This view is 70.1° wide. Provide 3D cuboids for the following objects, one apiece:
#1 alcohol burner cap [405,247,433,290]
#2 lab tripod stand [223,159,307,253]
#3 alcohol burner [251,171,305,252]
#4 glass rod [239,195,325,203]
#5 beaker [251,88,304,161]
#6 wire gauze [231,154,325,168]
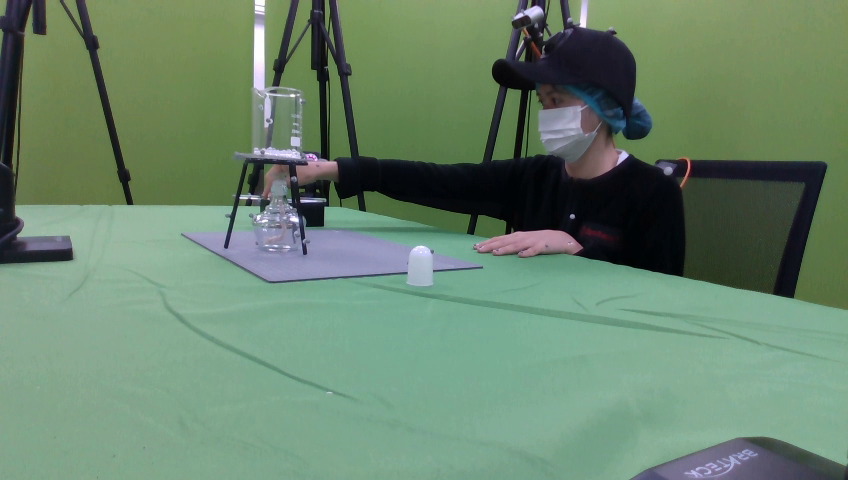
[{"bbox_3d":[-0.005,0.031,0.698,0.034,0.048,0.034,2,8,0],"label":"alcohol burner cap"},{"bbox_3d":[-0.220,-0.053,0.896,0.148,0.131,0.148,1,6,0],"label":"lab tripod stand"},{"bbox_3d":[-0.214,-0.042,0.888,0.078,0.119,0.078,2,9,0],"label":"alcohol burner"},{"bbox_3d":[-0.288,-0.083,1.228,0.201,0.008,0.008,0,7,-42],"label":"glass rod"},{"bbox_3d":[-0.214,-0.165,0.874,0.074,0.100,0.084,4,6,15],"label":"beaker"},{"bbox_3d":[-0.215,-0.117,0.882,0.125,0.011,0.121,3,7,-19],"label":"wire gauze"}]
